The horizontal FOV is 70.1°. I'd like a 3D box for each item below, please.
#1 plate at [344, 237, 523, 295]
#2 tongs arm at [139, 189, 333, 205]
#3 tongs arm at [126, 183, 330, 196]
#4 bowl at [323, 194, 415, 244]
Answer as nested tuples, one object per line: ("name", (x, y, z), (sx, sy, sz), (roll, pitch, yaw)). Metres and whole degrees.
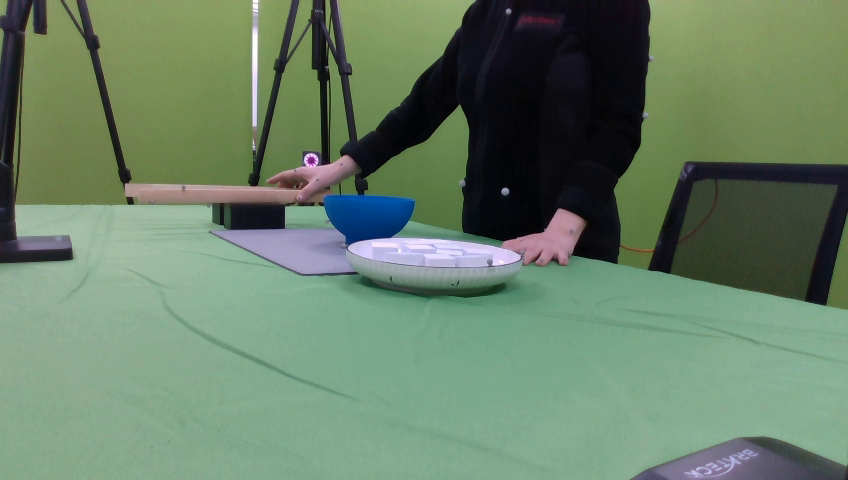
("plate", (0.010, 0.030, 0.707), (0.208, 0.039, 0.207), (3, 8, 0))
("tongs arm", (-0.336, -0.084, 1.146), (0.387, 0.026, 0.050), (-3, 9, -38))
("tongs arm", (-0.380, -0.096, 1.211), (0.389, 0.028, 0.028), (-1, 4, -25))
("bowl", (-0.091, -0.032, 0.986), (0.151, 0.077, 0.151), (2, 7, 0))
